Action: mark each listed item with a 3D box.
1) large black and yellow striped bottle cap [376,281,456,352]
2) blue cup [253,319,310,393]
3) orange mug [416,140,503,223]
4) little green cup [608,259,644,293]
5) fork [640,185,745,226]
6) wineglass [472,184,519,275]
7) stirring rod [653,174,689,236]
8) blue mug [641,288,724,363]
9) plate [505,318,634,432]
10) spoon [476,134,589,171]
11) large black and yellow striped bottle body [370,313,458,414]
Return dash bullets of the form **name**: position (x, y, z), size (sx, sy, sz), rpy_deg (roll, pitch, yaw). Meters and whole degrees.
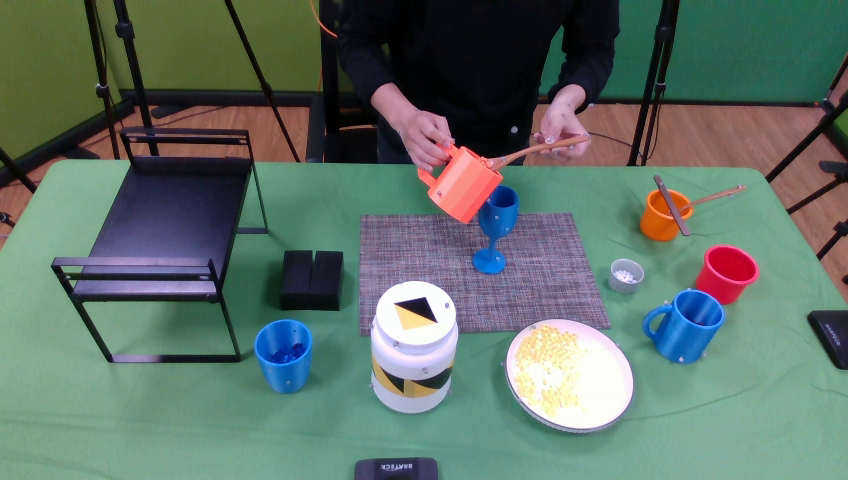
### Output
- **large black and yellow striped bottle cap**: position (-0.011, 0.107, 0.863), size (0.115, 0.019, 0.114), rpy_deg (2, 47, -2)
- **blue cup**: position (-0.217, 0.187, 0.943), size (0.093, 0.101, 0.092), rpy_deg (4, 45, -3)
- **orange mug**: position (0.053, -0.103, 0.991), size (0.126, 0.101, 0.083), rpy_deg (43, 15, 5)
- **little green cup**: position (0.379, 0.070, 1.147), size (0.061, 0.039, 0.061), rpy_deg (3, 45, -3)
- **fork**: position (0.534, -0.069, 1.215), size (0.207, 0.019, 0.028), rpy_deg (-26, 27, 33)
- **wineglass**: position (0.129, -0.018, 1.112), size (0.074, 0.173, 0.073), rpy_deg (2, 46, -2)
- **stirring rod**: position (0.491, -0.072, 1.211), size (0.014, 0.006, 0.175), rpy_deg (0, 47, -6)
- **blue mug**: position (0.432, 0.144, 1.033), size (0.116, 0.106, 0.082), rpy_deg (8, 46, 5)
- **plate**: position (0.235, 0.221, 0.991), size (0.209, 0.038, 0.208), rpy_deg (2, 46, -2)
- **spoon**: position (0.166, -0.141, 0.965), size (0.194, 0.022, 0.041), rpy_deg (-16, 32, 11)
- **large black and yellow striped bottle body**: position (-0.017, 0.165, 0.924), size (0.131, 0.185, 0.130), rpy_deg (2, 46, -2)
